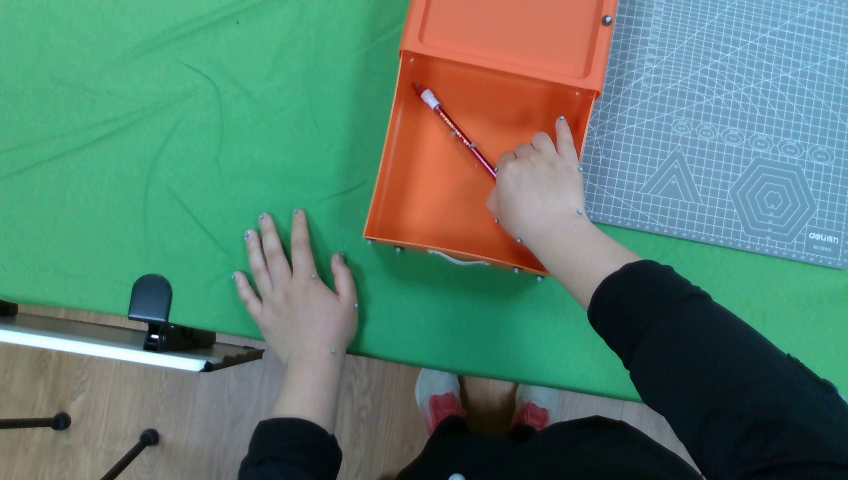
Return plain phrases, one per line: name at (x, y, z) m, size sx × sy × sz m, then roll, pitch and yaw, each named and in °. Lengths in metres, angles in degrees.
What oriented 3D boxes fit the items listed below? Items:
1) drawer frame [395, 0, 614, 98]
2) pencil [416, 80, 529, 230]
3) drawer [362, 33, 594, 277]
drawer frame at (0.089, -0.256, 0.622) m, size 0.202 × 0.083 × 0.213 m, roll 10°, pitch 84°, yaw 0°
pencil at (0.052, -0.089, 0.634) m, size 0.012 × 0.012 × 0.194 m, roll -37°, pitch 89°, yaw -4°
drawer at (0.054, -0.080, 0.609) m, size 0.194 × 0.073 × 0.211 m, roll 11°, pitch 87°, yaw 0°
